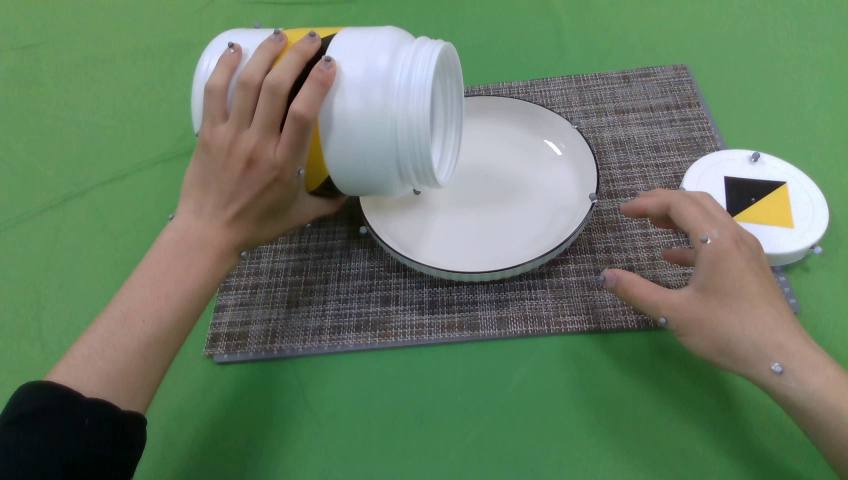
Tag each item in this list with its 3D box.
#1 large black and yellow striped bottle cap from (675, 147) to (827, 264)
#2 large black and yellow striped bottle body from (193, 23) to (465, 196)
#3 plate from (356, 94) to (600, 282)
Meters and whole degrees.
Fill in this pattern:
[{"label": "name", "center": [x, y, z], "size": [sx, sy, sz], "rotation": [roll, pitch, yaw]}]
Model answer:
[{"label": "large black and yellow striped bottle cap", "center": [0.269, -0.031, 0.501], "size": [0.115, 0.019, 0.114], "rotation": [-1, 54, 2]}, {"label": "large black and yellow striped bottle body", "center": [-0.068, -0.103, 0.481], "size": [0.183, 0.132, 0.130], "rotation": [5, 54, 15]}, {"label": "plate", "center": [0.046, -0.046, 0.530], "size": [0.207, 0.039, 0.205], "rotation": [-3, 53, 5]}]
